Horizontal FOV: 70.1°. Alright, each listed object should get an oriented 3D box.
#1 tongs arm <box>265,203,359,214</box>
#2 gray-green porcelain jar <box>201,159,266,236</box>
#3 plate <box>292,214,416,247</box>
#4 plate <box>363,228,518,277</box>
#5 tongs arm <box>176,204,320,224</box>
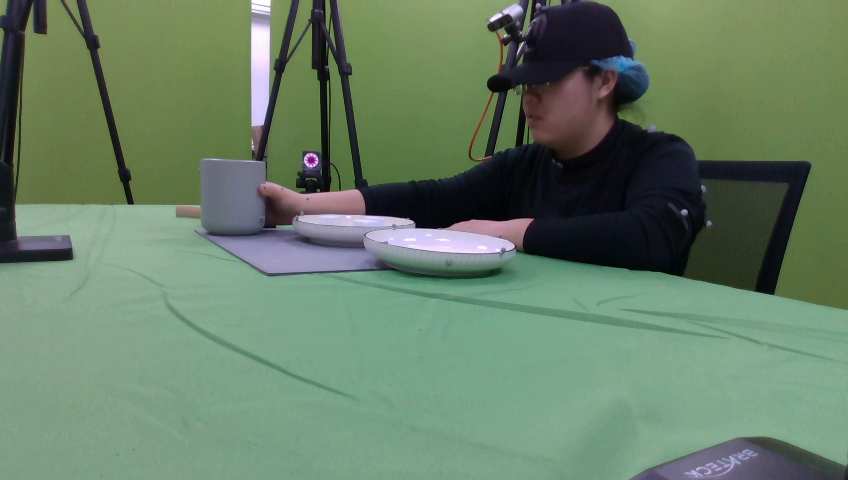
[{"bbox_3d":[-0.313,-0.064,1.352,0.384,0.026,0.051,6,8,17],"label":"tongs arm"},{"bbox_3d":[-0.326,-0.073,1.036,0.106,0.126,0.106,3,8,0],"label":"gray-green porcelain jar"},{"bbox_3d":[-0.118,-0.017,1.024,0.208,0.039,0.207,2,8,0],"label":"plate"},{"bbox_3d":[0.021,0.016,0.817,0.209,0.038,0.209,4,9,0],"label":"plate"},{"bbox_3d":[-0.333,-0.052,1.273,0.387,0.028,0.028,4,4,4],"label":"tongs arm"}]
